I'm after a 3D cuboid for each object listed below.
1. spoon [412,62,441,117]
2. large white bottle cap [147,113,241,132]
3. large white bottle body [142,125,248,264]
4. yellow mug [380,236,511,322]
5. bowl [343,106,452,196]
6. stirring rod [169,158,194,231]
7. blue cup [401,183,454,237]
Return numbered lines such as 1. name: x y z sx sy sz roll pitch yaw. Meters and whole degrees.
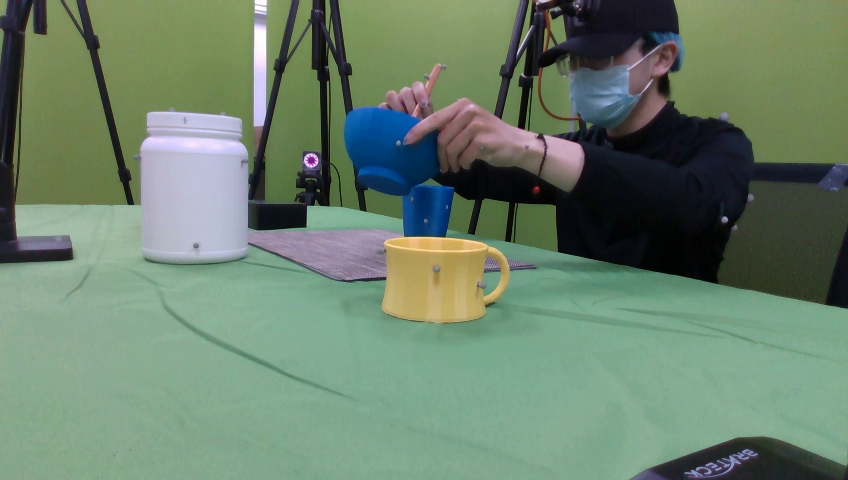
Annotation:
1. spoon: -0.015 -0.186 0.884 0.041 0.193 0.022 8 -29 34
2. large white bottle cap: -0.297 -0.151 0.786 0.115 0.018 0.115 2 7 0
3. large white bottle body: -0.300 -0.068 0.797 0.131 0.184 0.130 2 7 0
4. yellow mug: 0.024 0.034 0.575 0.131 0.064 0.099 0 7 -22
5. bowl: -0.045 -0.110 0.821 0.151 0.077 0.151 14 -13 4
6. stirring rod: -0.424 -0.082 1.060 0.014 0.006 0.175 2 50 -10
7. blue cup: 0.003 -0.038 0.966 0.093 0.100 0.092 4 8 0
